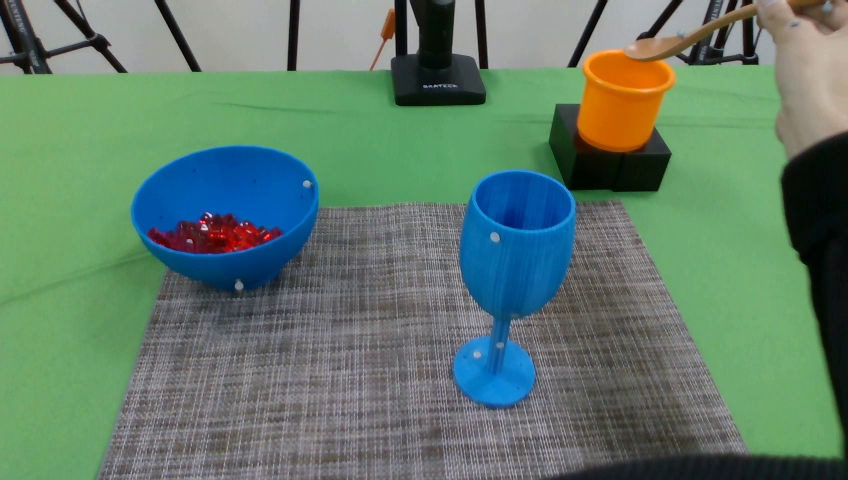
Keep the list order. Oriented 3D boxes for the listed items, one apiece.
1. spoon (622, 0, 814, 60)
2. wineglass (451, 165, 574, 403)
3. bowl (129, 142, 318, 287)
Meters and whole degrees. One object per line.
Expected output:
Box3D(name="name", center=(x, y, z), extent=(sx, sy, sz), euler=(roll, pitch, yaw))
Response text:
Box3D(name="spoon", center=(0.238, -0.171, 0.470), extent=(0.041, 0.022, 0.192), euler=(-38, 17, -27))
Box3D(name="wineglass", center=(0.055, 0.037, 0.419), extent=(0.074, 0.174, 0.073), euler=(2, 43, -1))
Box3D(name="bowl", center=(-0.166, -0.012, 0.530), extent=(0.151, 0.077, 0.150), euler=(2, 43, -1))
